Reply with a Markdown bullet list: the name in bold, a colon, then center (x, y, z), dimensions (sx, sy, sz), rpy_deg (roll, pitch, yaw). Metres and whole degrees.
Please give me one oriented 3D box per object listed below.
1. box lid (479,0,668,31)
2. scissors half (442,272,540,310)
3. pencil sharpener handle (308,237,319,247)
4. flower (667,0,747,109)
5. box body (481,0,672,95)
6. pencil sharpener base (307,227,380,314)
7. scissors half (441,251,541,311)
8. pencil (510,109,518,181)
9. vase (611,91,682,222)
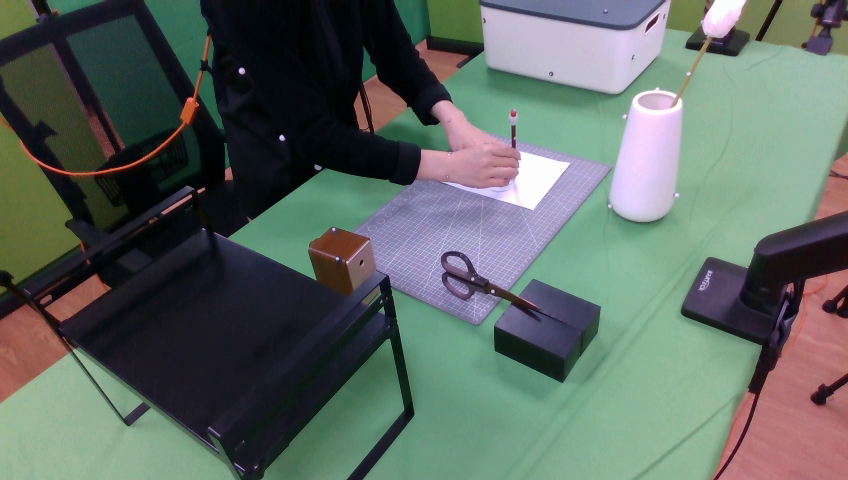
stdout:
- **box lid**: center (0.335, -0.536, 1.331), dimensions (0.368, 0.015, 0.264), rpy_deg (23, 49, 30)
- **scissors half**: center (0.089, 0.074, 0.832), dimensions (0.013, 0.040, 0.173), rpy_deg (-24, 23, -38)
- **pencil sharpener handle**: center (-0.159, 0.017, 0.892), dimensions (0.030, 0.068, 0.036), rpy_deg (18, 61, 28)
- **flower**: center (0.354, -0.187, 0.879), dimensions (0.038, 0.362, 0.044), rpy_deg (30, 48, 14)
- **box body**: center (0.341, -0.480, 1.381), dimensions (0.361, 0.161, 0.255), rpy_deg (22, 48, 30)
- **pencil sharpener base**: center (-0.116, 0.043, 0.875), dimensions (0.076, 0.107, 0.061), rpy_deg (18, 47, 27)
- **scissors half**: center (0.087, 0.056, 0.824), dimensions (0.013, 0.040, 0.173), rpy_deg (-30, 44, -36)
- **pencil**: center (0.150, -0.152, 1.001), dimensions (0.012, 0.195, 0.012), rpy_deg (-4, 62, 7)
- **vase**: center (0.348, -0.125, 0.935), dimensions (0.098, 0.201, 0.097), rpy_deg (-3, 40, 3)
